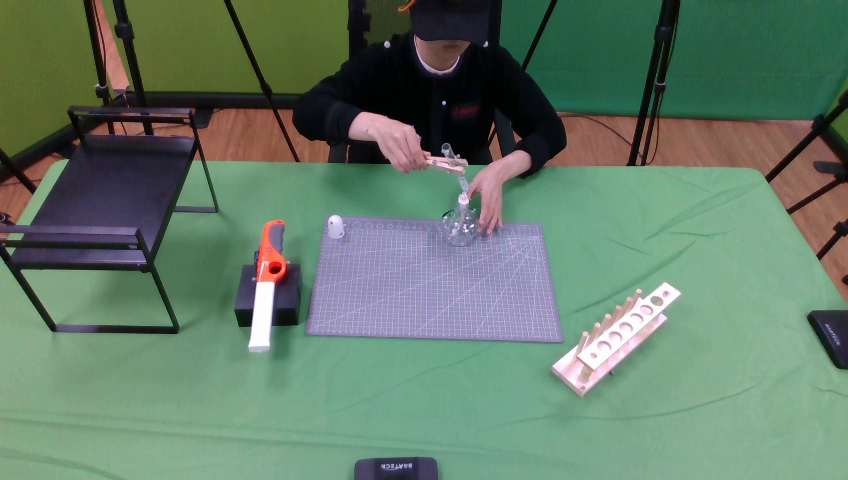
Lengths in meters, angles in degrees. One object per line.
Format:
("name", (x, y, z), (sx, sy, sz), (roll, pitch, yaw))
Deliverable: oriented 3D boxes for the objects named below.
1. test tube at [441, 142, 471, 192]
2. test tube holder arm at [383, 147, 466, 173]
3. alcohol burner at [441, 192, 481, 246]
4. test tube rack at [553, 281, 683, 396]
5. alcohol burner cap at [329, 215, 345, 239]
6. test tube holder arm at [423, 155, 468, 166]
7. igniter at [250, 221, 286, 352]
("test tube", (0.058, -0.124, 1.056), (0.017, 0.151, 0.017), (-8, 63, 16))
("test tube holder arm", (-0.003, -0.143, 1.078), (0.177, 0.015, 0.013), (17, 72, 32))
("alcohol burner", (0.074, -0.046, 1.176), (0.078, 0.119, 0.077), (2, 44, -2))
("test tube rack", (0.329, 0.153, 1.023), (0.242, 0.085, 0.066), (-30, 54, -28))
("alcohol burner cap", (-0.172, -0.028, 1.192), (0.034, 0.048, 0.033), (1, 47, -1))
("test tube holder arm", (0.036, -0.139, 1.056), (0.087, 0.015, 0.010), (8, 68, 30))
("igniter", (-0.269, 0.068, 1.042), (0.057, 0.025, 0.274), (0, 48, -7))
